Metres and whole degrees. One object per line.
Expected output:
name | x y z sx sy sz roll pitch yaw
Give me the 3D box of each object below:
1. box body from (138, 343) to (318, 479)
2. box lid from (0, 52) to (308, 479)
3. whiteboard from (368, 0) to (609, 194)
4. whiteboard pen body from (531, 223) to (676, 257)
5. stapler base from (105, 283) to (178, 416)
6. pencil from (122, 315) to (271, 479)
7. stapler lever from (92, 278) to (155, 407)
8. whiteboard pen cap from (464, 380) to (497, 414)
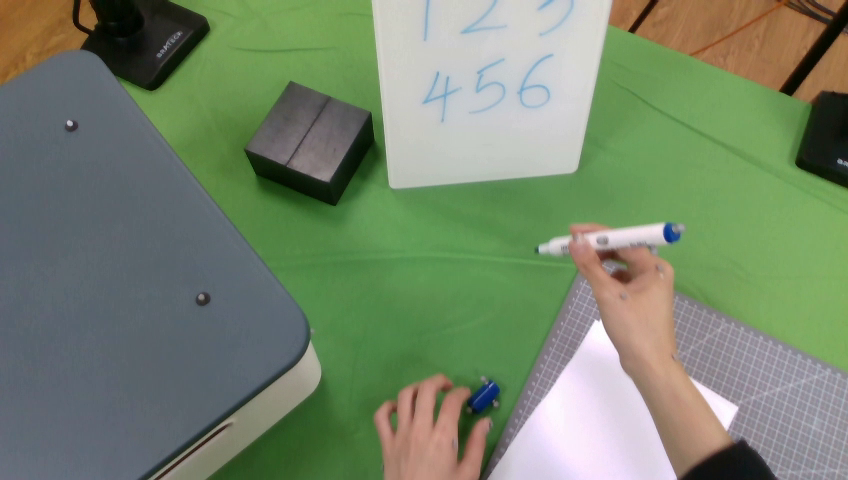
box body | -0.293 0.054 0.535 0.254 0.161 0.361 -38 72 -16
box lid | -0.293 0.022 0.469 0.263 0.015 0.369 -38 73 -16
whiteboard | 0.054 -0.218 0.623 0.217 0.308 0.142 -5 46 -3
whiteboard pen body | 0.138 0.003 0.491 0.017 0.140 0.017 5 81 -35
stapler base | -0.275 0.100 0.581 0.041 0.024 0.129 1 68 18
pencil | -0.210 0.143 0.571 0.012 0.012 0.193 30 57 12
stapler lever | -0.280 0.092 0.559 0.027 0.040 0.117 1 67 18
whiteboard pen cap | 0.055 0.150 0.579 0.033 0.018 0.018 -39 71 -16
